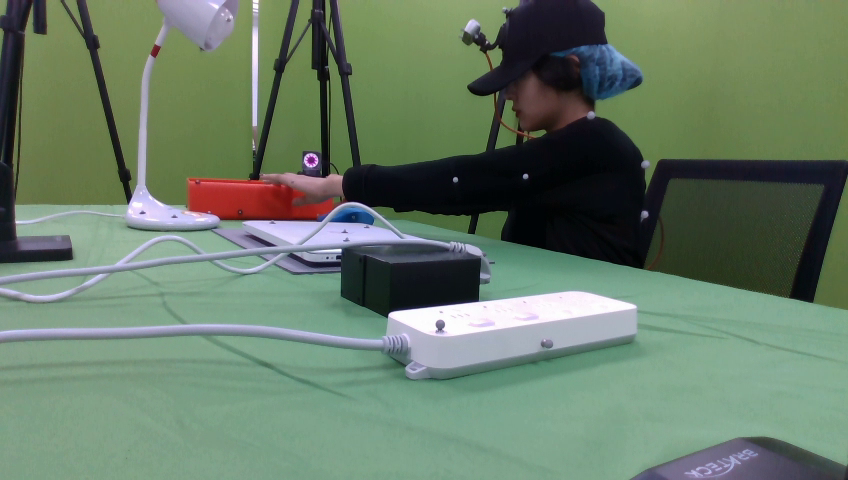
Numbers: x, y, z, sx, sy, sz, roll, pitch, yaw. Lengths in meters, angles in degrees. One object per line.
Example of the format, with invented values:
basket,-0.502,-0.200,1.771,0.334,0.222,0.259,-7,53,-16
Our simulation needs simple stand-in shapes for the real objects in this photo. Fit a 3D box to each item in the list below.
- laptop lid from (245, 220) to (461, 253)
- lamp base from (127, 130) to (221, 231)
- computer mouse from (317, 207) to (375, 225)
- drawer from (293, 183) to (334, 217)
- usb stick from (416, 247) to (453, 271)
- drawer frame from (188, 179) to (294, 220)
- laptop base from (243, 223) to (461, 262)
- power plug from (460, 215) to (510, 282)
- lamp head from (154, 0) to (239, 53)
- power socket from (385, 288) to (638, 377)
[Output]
laptop lid,-0.124,-0.009,0.945,0.243,0.013,0.355,1,7,-29
lamp base,-0.469,-0.112,1.108,0.179,0.180,0.160,0,7,3
computer mouse,-0.163,-0.047,1.263,0.118,0.041,0.062,-6,12,-28
drawer,-0.333,-0.096,1.405,0.213,0.073,0.193,-1,9,-24
usb stick,0.009,0.024,0.755,0.027,0.021,0.059,37,-17,-17
drawer frame,-0.416,-0.094,1.368,0.214,0.082,0.201,-1,9,-23
laptop base,-0.126,0.003,0.945,0.237,0.023,0.352,2,6,-31
power plug,0.064,0.011,0.624,0.053,0.072,0.035,-3,39,-3
lamp head,-0.406,-0.402,1.059,0.123,0.112,0.112,25,6,-6
power socket,0.074,0.064,0.462,0.228,0.032,0.072,-3,8,-34
